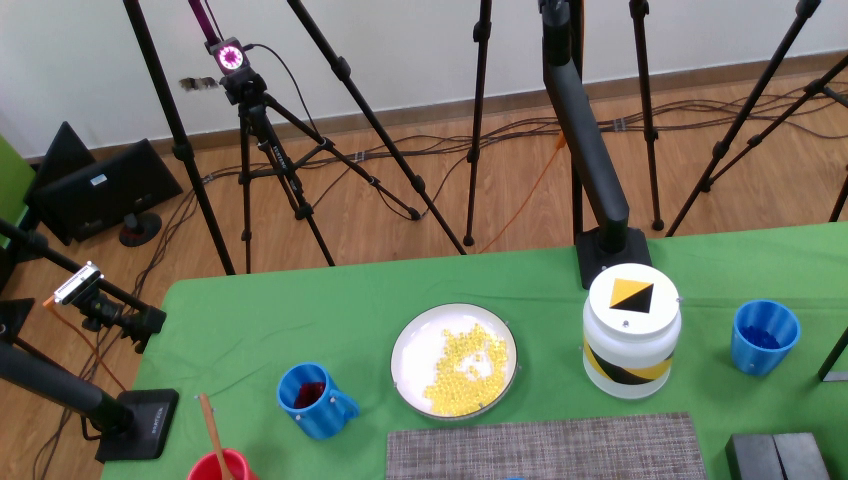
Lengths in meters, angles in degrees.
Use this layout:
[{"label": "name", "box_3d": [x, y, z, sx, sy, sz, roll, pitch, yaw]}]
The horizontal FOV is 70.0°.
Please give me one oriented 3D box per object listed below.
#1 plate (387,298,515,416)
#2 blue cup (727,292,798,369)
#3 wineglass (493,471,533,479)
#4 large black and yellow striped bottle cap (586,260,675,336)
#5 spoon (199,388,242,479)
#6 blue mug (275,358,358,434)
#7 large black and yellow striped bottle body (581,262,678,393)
[{"label": "plate", "box_3d": [0.045, 0.191, 0.987, 0.209, 0.038, 0.207, -6, 51, 8]}, {"label": "blue cup", "box_3d": [0.484, 0.139, 0.883, 0.092, 0.101, 0.091, -8, 51, 10]}, {"label": "wineglass", "box_3d": [0.117, 0.346, 0.752, 0.073, 0.174, 0.073, -6, 51, 8]}, {"label": "large black and yellow striped bottle cap", "box_3d": [0.278, 0.076, 0.819, 0.115, 0.019, 0.114, -7, 49, 8]}, {"label": "spoon", "box_3d": [-0.301, 0.313, 0.900, 0.041, 0.021, 0.194, -16, 95, -1]}, {"label": "blue mug", "box_3d": [-0.159, 0.247, 0.945, 0.116, 0.107, 0.082, 5, 53, 16]}, {"label": "large black and yellow striped bottle body", "box_3d": [0.295, 0.127, 0.884, 0.130, 0.186, 0.129, -7, 51, 9]}]
